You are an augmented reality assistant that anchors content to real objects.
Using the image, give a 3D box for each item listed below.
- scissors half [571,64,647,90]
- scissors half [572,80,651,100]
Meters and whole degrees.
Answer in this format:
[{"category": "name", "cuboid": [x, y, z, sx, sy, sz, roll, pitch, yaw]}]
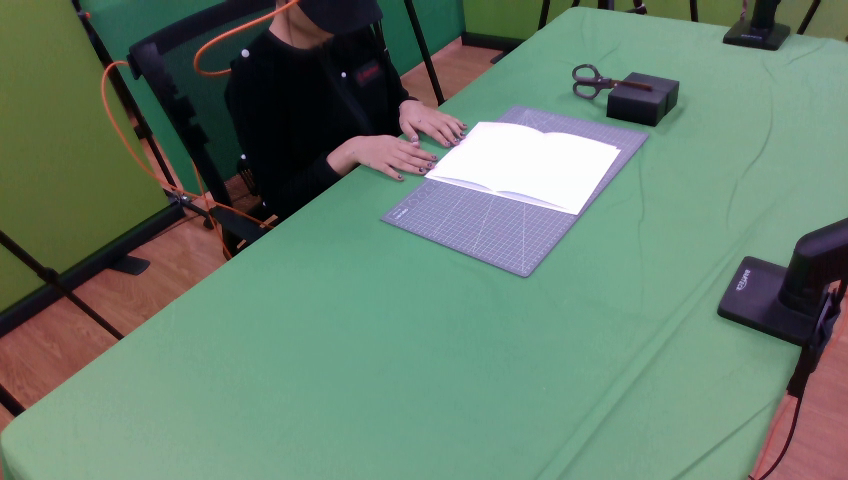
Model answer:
[{"category": "scissors half", "cuboid": [0.378, -0.327, 1.229, 0.174, 0.040, 0.013, 25, 48, 33]}, {"category": "scissors half", "cuboid": [0.381, -0.309, 1.239, 0.174, 0.040, 0.013, 9, 32, 45]}]
